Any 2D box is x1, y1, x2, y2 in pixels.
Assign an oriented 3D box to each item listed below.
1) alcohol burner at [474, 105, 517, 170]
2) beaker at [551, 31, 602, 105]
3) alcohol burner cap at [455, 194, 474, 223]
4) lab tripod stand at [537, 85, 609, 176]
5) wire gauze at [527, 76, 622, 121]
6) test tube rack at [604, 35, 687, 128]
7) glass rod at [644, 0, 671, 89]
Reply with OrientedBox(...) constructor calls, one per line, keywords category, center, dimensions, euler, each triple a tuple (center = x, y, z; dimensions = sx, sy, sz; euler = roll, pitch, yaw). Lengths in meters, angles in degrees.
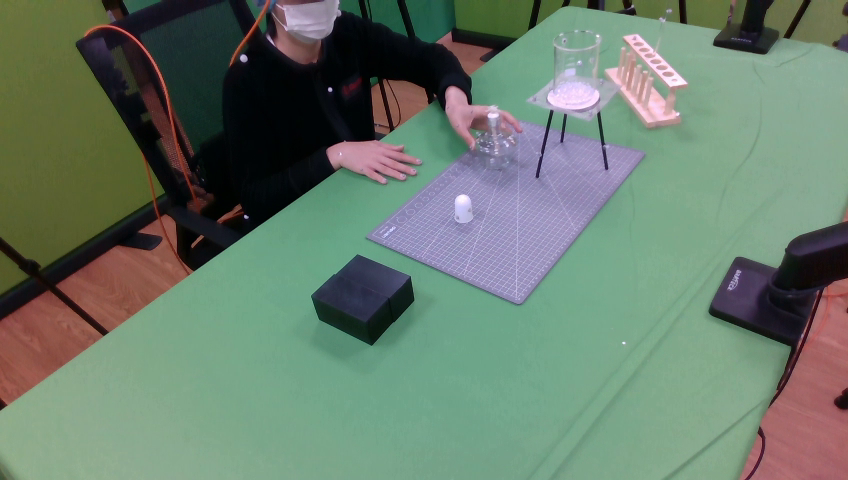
OrientedBox(category="alcohol burner", center=(0.129, -0.190, 1.100), dimensions=(0.078, 0.119, 0.077), euler=(-6, 40, 6))
OrientedBox(category="beaker", center=(0.252, -0.282, 0.998), dimensions=(0.084, 0.101, 0.073), euler=(-16, 42, -7))
OrientedBox(category="alcohol burner cap", center=(0.066, -0.054, 1.006), dimensions=(0.034, 0.048, 0.033), euler=(-5, 40, 5))
OrientedBox(category="lab tripod stand", center=(0.259, -0.192, 1.068), dimensions=(0.148, 0.132, 0.147), euler=(-4, 43, 4))
OrientedBox(category="wire gauze", center=(0.255, -0.247, 1.031), dimensions=(0.124, 0.011, 0.122), euler=(23, 49, 34))
OrientedBox(category="test tube rack", center=(0.447, -0.330, 1.241), dimensions=(0.067, 0.085, 0.241), euler=(-9, 41, -2))
OrientedBox(category="glass rod", center=(0.463, -0.387, 1.204), dimensions=(0.008, 0.200, 0.008), euler=(0, 47, 1))
